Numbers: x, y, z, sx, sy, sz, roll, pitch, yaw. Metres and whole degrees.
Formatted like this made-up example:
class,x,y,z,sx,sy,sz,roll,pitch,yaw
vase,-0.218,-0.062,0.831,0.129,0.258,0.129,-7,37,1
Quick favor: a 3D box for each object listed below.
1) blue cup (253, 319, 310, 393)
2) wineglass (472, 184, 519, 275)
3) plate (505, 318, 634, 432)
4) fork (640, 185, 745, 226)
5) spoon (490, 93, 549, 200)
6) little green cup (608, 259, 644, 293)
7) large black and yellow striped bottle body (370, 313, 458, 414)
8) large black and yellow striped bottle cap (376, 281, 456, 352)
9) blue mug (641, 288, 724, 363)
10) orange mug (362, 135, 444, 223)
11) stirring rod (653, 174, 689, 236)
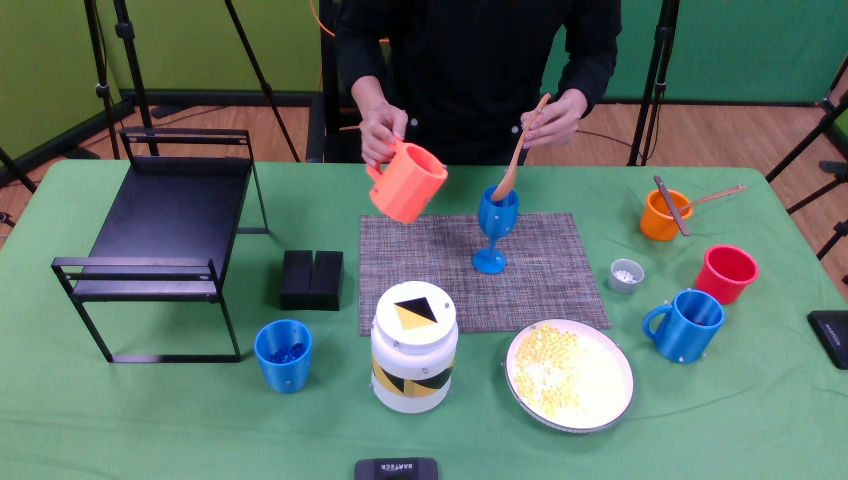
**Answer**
class,x,y,z,sx,sy,sz,roll,pitch,yaw
blue cup,-0.217,0.187,0.943,0.093,0.101,0.092,4,45,-3
wineglass,0.129,-0.018,1.113,0.074,0.173,0.073,2,46,-2
plate,0.235,0.221,0.991,0.209,0.038,0.208,2,46,-2
fork,0.534,-0.069,1.215,0.207,0.019,0.028,-26,27,33
spoon,0.156,-0.151,0.991,0.021,0.194,0.042,31,17,34
little green cup,0.379,0.070,1.147,0.061,0.039,0.061,3,45,-2
large black and yellow striped bottle body,-0.017,0.165,0.924,0.131,0.185,0.130,2,46,-2
large black and yellow striped bottle cap,-0.011,0.107,0.863,0.115,0.019,0.114,2,47,-2
blue mug,0.432,0.144,1.033,0.116,0.106,0.082,9,46,5
orange mug,-0.041,-0.104,0.956,0.125,0.101,0.083,51,29,16
stirring rod,0.491,-0.072,1.211,0.014,0.006,0.175,0,47,-6
